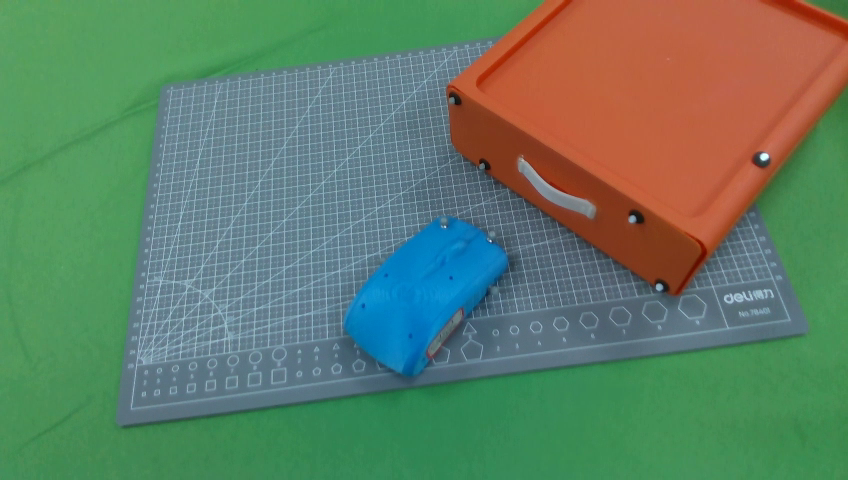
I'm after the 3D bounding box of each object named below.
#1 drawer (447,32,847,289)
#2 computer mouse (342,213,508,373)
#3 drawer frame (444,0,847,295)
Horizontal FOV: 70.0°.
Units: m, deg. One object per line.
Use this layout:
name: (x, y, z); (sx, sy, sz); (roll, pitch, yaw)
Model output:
drawer: (0.157, -0.102, 0.432); (0.193, 0.074, 0.211); (38, 71, 23)
computer mouse: (0.002, 0.029, 0.401); (0.062, 0.041, 0.117); (34, 65, 23)
drawer frame: (0.158, -0.104, 0.431); (0.200, 0.083, 0.213); (37, 70, 23)
